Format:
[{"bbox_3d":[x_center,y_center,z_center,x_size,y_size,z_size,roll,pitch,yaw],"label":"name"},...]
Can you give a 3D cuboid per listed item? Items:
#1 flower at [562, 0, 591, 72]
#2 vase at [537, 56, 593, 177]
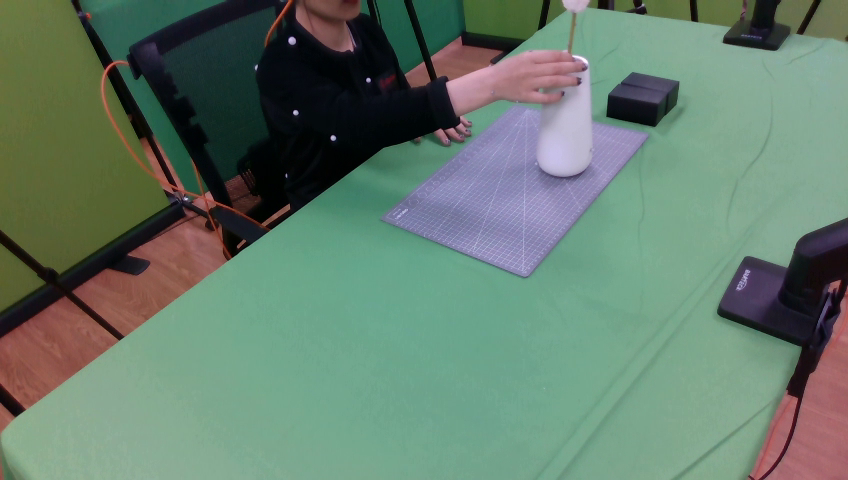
[{"bbox_3d":[0.229,-0.262,0.975,0.044,0.363,0.038,-21,56,-8],"label":"flower"},{"bbox_3d":[0.245,-0.209,1.040,0.098,0.201,0.097,-4,40,4],"label":"vase"}]
